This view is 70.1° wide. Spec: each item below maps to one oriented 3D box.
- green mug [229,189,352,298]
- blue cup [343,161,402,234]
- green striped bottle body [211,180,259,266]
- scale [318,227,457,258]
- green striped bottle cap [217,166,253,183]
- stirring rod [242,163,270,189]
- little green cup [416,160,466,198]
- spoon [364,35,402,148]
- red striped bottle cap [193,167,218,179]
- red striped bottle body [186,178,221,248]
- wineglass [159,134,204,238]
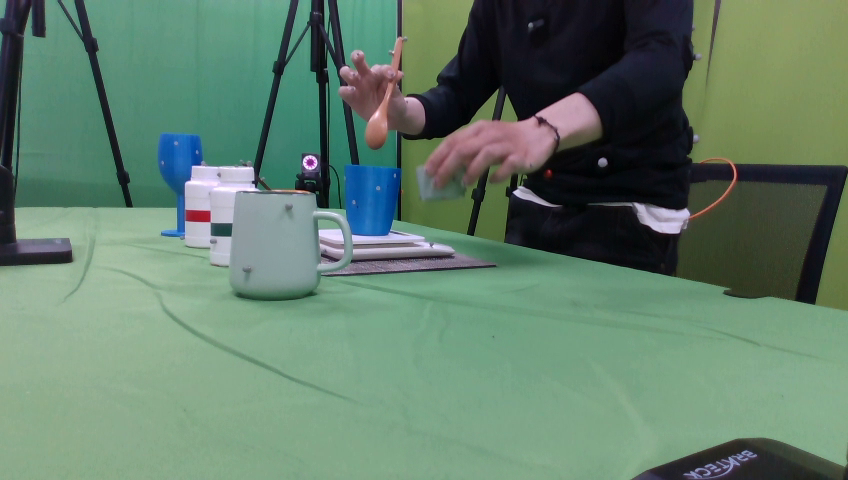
[{"bbox_3d":[-0.135,0.002,0.618,0.125,0.105,0.092,2,7,4],"label":"green mug"},{"bbox_3d":[-0.078,-0.062,0.884,0.093,0.100,0.092,4,6,0],"label":"blue cup"},{"bbox_3d":[-0.243,-0.029,0.784,0.063,0.119,0.063,2,7,0],"label":"green striped bottle body"},{"bbox_3d":[-0.066,0.001,0.906,0.202,0.031,0.148,-2,8,-31],"label":"scale"},{"bbox_3d":[-0.242,-0.085,0.777,0.044,0.020,0.044,2,9,0],"label":"green striped bottle cap"},{"bbox_3d":[-0.298,-0.091,1.198,0.014,0.006,0.177,11,-31,45],"label":"stirring rod"},{"bbox_3d":[0.022,-0.072,0.724,0.061,0.038,0.061,-7,0,0],"label":"little green cup"},{"bbox_3d":[-0.057,-0.229,0.918,0.041,0.193,0.022,-2,-25,34],"label":"spoon"},{"bbox_3d":[-0.329,-0.103,0.921,0.044,0.017,0.044,-1,9,0],"label":"red striped bottle cap"},{"bbox_3d":[-0.331,-0.049,0.927,0.063,0.119,0.063,2,6,0],"label":"red striped bottle body"},{"bbox_3d":[-0.415,-0.093,1.039,0.074,0.172,0.073,2,8,0],"label":"wineglass"}]
